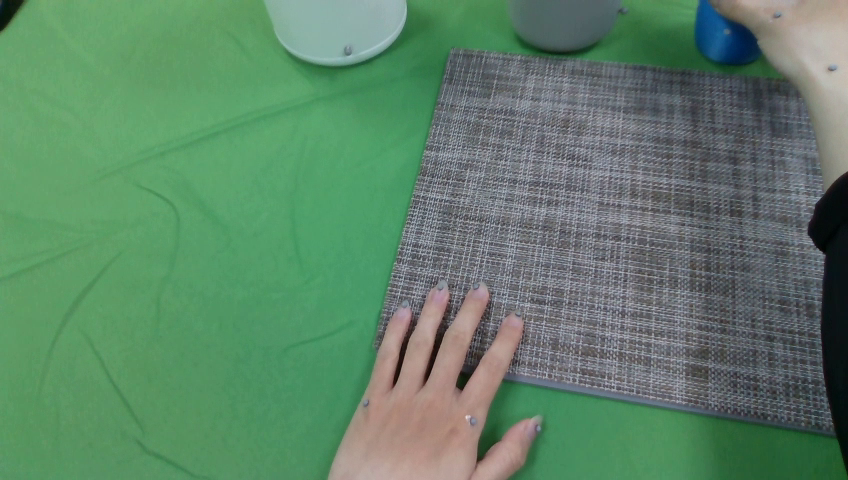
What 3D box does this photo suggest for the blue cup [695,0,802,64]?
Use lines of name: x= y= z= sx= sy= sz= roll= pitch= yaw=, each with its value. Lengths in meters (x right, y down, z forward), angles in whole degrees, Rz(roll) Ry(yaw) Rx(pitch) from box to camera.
blue cup: x=0.273 y=-0.205 z=0.507 sx=0.092 sy=0.101 sz=0.092 roll=-3 pitch=60 yaw=5

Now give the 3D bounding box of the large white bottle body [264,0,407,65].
large white bottle body: x=-0.088 y=-0.260 z=0.519 sx=0.130 sy=0.186 sz=0.129 roll=-2 pitch=61 yaw=4

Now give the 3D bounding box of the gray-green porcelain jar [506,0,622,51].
gray-green porcelain jar: x=0.124 y=-0.239 z=0.524 sx=0.106 sy=0.127 sz=0.105 roll=-2 pitch=61 yaw=4
